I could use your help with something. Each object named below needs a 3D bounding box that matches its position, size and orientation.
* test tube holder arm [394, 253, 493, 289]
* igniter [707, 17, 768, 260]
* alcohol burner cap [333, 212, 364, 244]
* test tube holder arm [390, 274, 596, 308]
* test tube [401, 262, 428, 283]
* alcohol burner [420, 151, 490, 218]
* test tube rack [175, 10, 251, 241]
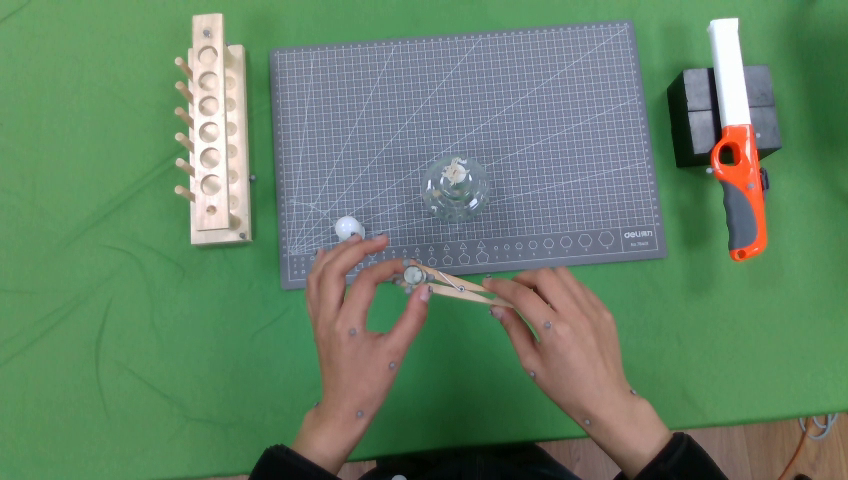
[{"bbox_3d":[0.017,0.030,0.524,0.088,0.015,0.010,19,78,0],"label":"test tube holder arm"},{"bbox_3d":[0.343,-0.115,0.669,0.057,0.025,0.275,-2,80,6],"label":"igniter"},{"bbox_3d":[-0.087,-0.016,0.691,0.034,0.048,0.033,0,80,0],"label":"alcohol burner cap"},{"bbox_3d":[0.059,0.044,0.523,0.178,0.015,0.013,8,79,-2],"label":"test tube holder arm"},{"bbox_3d":[-0.006,0.028,0.516,0.017,0.150,0.017,0,86,2],"label":"test tube"},{"bbox_3d":[0.034,-0.064,0.662,0.078,0.119,0.077,0,82,1],"label":"alcohol burner"},{"bbox_3d":[-0.245,-0.127,0.690,0.067,0.085,0.241,-4,81,0],"label":"test tube rack"}]
